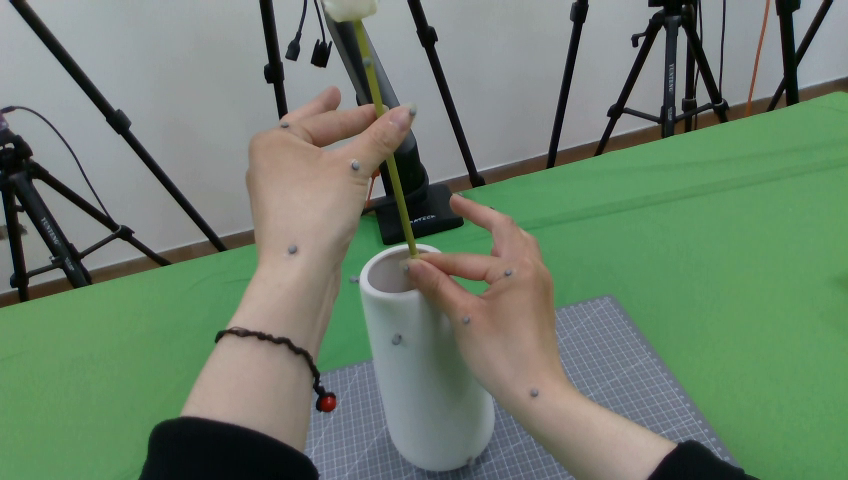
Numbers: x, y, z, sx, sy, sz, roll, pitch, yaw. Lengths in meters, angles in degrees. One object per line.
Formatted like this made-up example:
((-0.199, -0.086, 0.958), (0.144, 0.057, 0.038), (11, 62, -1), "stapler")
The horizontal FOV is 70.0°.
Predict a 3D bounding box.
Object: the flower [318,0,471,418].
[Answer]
((-0.011, -0.022, 0.416), (0.038, 0.364, 0.043), (-22, 22, -16), "flower")

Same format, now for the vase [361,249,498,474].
((0.004, 0.105, 0.513), (0.098, 0.202, 0.097), (-10, 32, 7), "vase")
